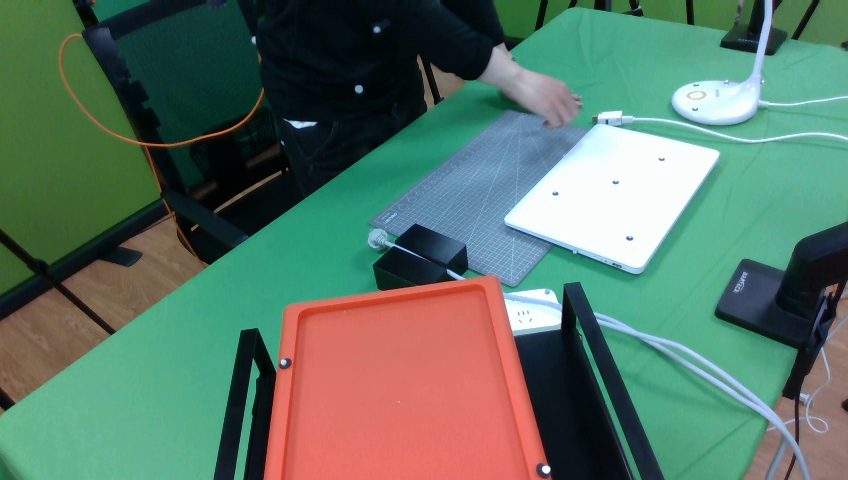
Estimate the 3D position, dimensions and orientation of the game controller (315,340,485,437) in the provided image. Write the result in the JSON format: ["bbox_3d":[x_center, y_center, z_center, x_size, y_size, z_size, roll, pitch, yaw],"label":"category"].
[{"bbox_3d":[-0.021,0.120,0.533,0.155,0.052,0.096,-3,38,1],"label":"game controller"}]

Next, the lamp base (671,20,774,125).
[{"bbox_3d":[0.581,-0.332,1.154,0.179,0.181,0.160,2,42,7],"label":"lamp base"}]

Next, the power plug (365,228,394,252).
[{"bbox_3d":[-0.068,0.010,0.954,0.035,0.053,0.072,-37,51,0],"label":"power plug"}]

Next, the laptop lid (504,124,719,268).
[{"bbox_3d":[0.323,-0.093,1.021,0.240,0.013,0.358,23,49,32],"label":"laptop lid"}]

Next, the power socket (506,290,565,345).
[{"bbox_3d":[0.081,0.112,0.822,0.227,0.033,0.072,-7,41,0],"label":"power socket"}]

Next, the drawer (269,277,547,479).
[{"bbox_3d":[-0.018,0.137,0.493,0.195,0.073,0.210,-7,41,-1],"label":"drawer"}]

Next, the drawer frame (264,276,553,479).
[{"bbox_3d":[-0.016,0.137,0.490,0.202,0.083,0.212,-8,41,-1],"label":"drawer frame"}]

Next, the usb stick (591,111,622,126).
[{"bbox_3d":[0.360,-0.239,1.197,0.059,0.021,0.027,3,43,27],"label":"usb stick"}]

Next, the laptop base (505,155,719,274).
[{"bbox_3d":[0.326,-0.083,1.028,0.233,0.023,0.355,21,48,32],"label":"laptop base"}]
